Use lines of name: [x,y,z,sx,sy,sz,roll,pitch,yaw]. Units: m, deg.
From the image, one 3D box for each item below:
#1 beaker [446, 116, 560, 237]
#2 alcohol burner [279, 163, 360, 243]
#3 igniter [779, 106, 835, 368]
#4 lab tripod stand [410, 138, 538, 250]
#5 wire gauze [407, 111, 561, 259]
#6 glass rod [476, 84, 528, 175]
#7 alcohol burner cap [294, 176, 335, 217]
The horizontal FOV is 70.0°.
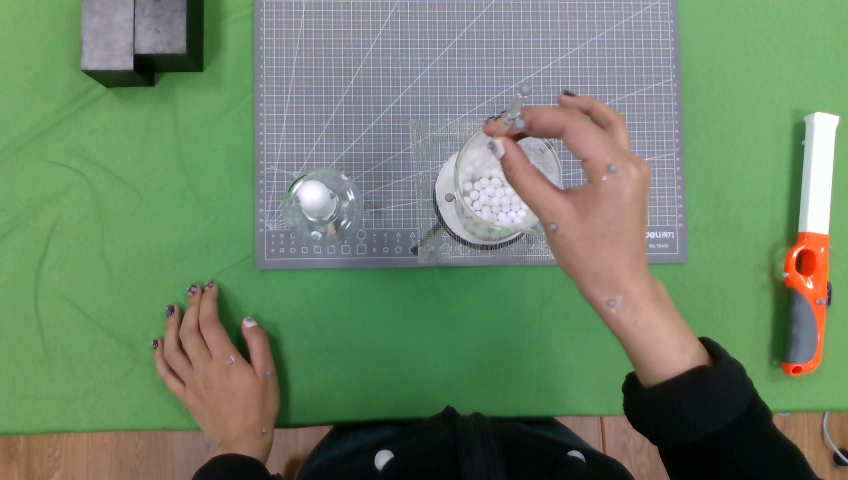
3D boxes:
beaker: [0.055,-0.039,0.454,0.074,0.100,0.084,-33,87,-4]
alcohol burner: [-0.100,-0.038,0.571,0.078,0.119,0.077,0,84,-3]
igniter: [0.404,-0.003,0.637,0.057,0.025,0.276,7,87,-13]
lab tripod stand: [0.047,-0.038,0.568,0.148,0.131,0.148,0,86,0]
wire gauze: [0.050,-0.046,0.502,0.125,0.011,0.121,-2,85,0]
glass rod: [0.048,-0.066,0.402,0.008,0.200,0.008,0,84,-1]
alcohol burner cap: [-0.098,-0.040,0.535,0.034,0.048,0.034,0,82,0]
